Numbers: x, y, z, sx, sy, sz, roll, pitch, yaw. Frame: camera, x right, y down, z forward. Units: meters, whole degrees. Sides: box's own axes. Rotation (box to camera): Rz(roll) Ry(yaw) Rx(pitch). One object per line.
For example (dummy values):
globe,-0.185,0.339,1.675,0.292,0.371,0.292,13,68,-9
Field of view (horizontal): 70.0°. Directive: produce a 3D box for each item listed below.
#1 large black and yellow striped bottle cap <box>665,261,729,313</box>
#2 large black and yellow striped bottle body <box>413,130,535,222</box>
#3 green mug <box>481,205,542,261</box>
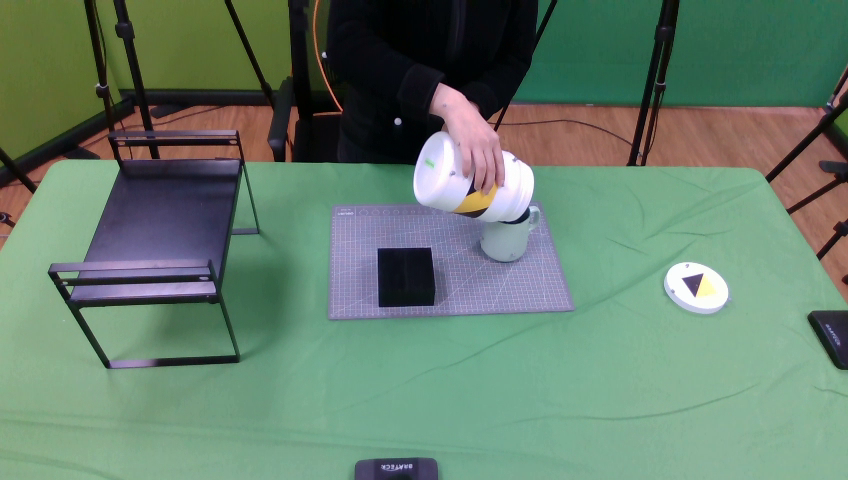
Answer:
large black and yellow striped bottle cap,0.518,0.087,1.152,0.115,0.019,0.114,2,47,-2
large black and yellow striped bottle body,0.089,-0.106,1.061,0.185,0.131,0.130,13,42,-24
green mug,0.174,-0.027,1.173,0.125,0.105,0.092,-22,51,-23
